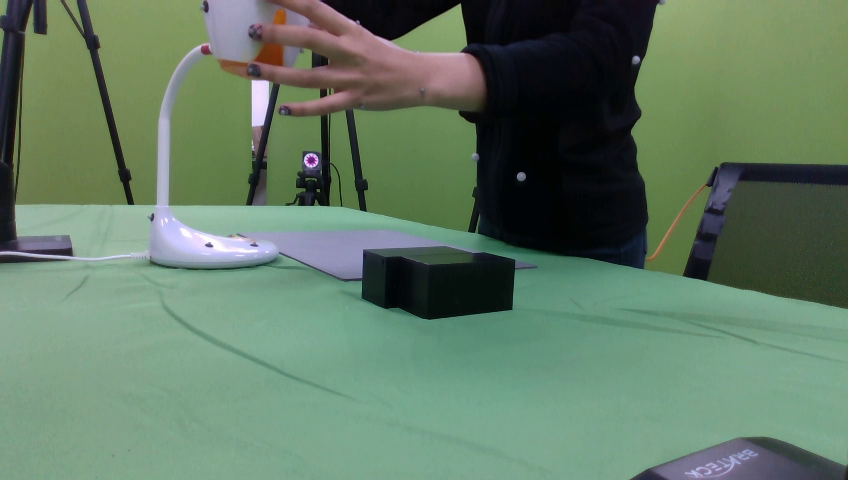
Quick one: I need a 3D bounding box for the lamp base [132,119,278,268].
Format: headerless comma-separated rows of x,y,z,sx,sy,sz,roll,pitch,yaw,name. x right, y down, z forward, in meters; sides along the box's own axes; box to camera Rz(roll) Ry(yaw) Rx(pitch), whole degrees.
-0.279,-0.061,0.770,0.160,0.180,0.180,9,13,43,lamp base

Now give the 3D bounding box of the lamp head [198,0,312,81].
-0.164,-0.215,0.574,0.112,0.123,0.112,9,8,-1,lamp head
